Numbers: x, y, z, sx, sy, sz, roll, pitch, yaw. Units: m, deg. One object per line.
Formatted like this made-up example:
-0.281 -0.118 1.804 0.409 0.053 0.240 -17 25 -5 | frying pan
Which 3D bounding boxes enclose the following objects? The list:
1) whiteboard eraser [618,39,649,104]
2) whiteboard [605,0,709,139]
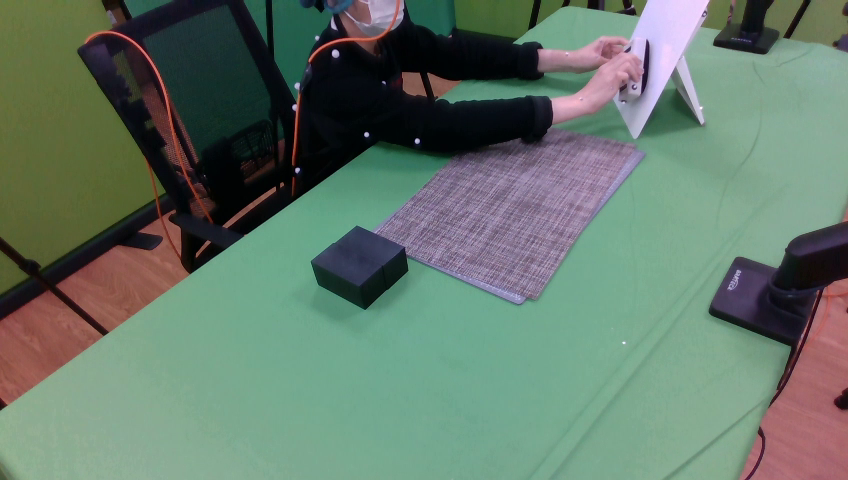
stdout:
0.401 -0.321 1.154 0.042 0.055 0.112 9 84 -10 | whiteboard eraser
0.496 -0.358 1.146 0.144 0.305 0.216 10 40 -8 | whiteboard
